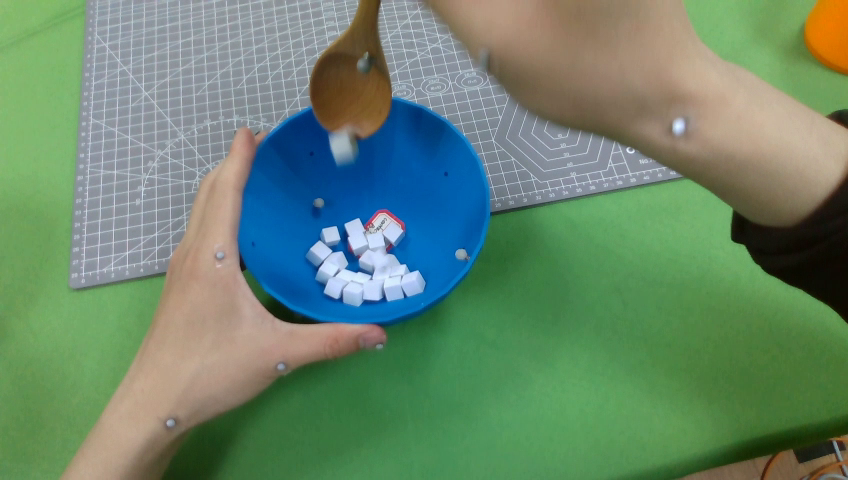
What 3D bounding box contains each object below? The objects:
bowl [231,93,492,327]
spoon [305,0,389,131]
[{"bbox_3d":[-0.036,-0.010,0.384,0.151,0.077,0.150,0,67,0],"label":"bowl"},{"bbox_3d":[-0.021,-0.091,0.226,0.042,0.194,0.021,20,72,-8],"label":"spoon"}]
